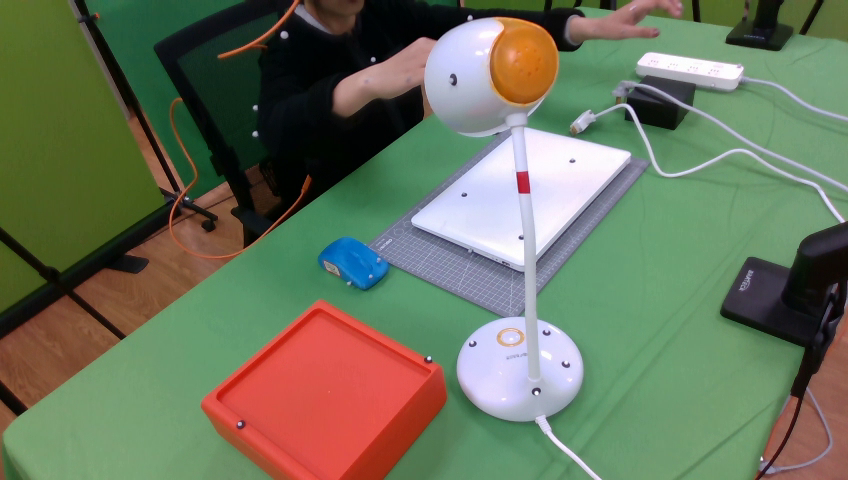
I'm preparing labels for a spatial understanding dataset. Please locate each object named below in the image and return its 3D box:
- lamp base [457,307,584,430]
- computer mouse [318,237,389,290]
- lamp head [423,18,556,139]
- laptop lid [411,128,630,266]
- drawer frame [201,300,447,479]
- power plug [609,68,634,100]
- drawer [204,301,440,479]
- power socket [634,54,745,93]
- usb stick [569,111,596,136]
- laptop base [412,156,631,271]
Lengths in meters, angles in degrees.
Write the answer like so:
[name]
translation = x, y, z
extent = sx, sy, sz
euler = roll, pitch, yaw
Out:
[lamp base]
translation = 0.116, 0.108, 0.713
extent = 0.161, 0.181, 0.178
euler = -16, 43, -8
[computer mouse]
translation = -0.113, 0.034, 0.959
extent = 0.116, 0.041, 0.063
euler = 27, 50, 31
[lamp head]
translation = 0.068, -0.151, 0.563
extent = 0.113, 0.113, 0.122
euler = -21, 18, -13
[laptop lid]
translation = 0.172, -0.093, 1.049
extent = 0.239, 0.013, 0.358
euler = 23, 49, 36
[drawer frame]
translation = -0.117, 0.193, 0.733
extent = 0.212, 0.083, 0.202
euler = 23, 49, 32
[power plug]
translation = 0.405, -0.321, 1.234
extent = 0.035, 0.072, 0.052
euler = 6, 30, -33
[drawer]
translation = -0.119, 0.193, 0.735
extent = 0.210, 0.073, 0.195
euler = 23, 49, 32
[power socket]
translation = 0.563, -0.358, 1.295
extent = 0.225, 0.033, 0.072
euler = 21, 49, 31
[usb stick]
translation = 0.309, -0.227, 1.189
extent = 0.059, 0.021, 0.027
euler = -44, 13, -19
[laptop base]
translation = 0.176, -0.084, 1.055
extent = 0.233, 0.023, 0.355
euler = 21, 48, 36
